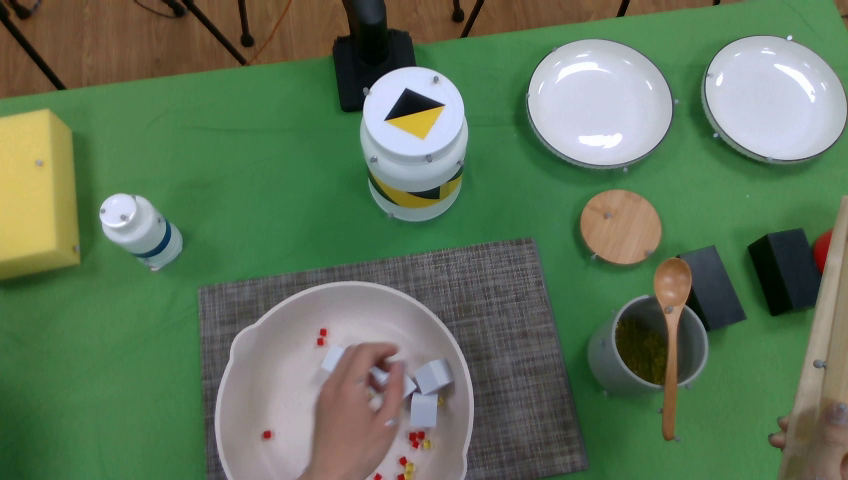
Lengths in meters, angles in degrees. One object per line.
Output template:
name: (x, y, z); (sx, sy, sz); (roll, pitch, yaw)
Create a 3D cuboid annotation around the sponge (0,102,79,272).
sponge: (-0.538, -0.070, 0.801); (0.118, 0.061, 0.205); (-13, 73, -6)

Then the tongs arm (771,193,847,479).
tongs arm: (0.309, 0.149, 0.492); (0.028, 0.028, 0.390); (0, 111, 8)

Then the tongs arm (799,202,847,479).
tongs arm: (0.305, 0.156, 0.474); (0.026, 0.050, 0.386); (1, 105, 11)

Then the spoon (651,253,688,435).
spoon: (0.262, 0.109, 0.651); (0.042, 0.022, 0.193); (8, 75, -3)

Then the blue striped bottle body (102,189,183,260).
blue striped bottle body: (-0.355, -0.022, 0.758); (0.063, 0.121, 0.062); (0, 71, 0)

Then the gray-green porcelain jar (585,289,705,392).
gray-green porcelain jar: (0.255, 0.124, 0.720); (0.106, 0.127, 0.105); (0, 71, -1)

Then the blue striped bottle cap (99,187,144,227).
blue striped bottle cap: (-0.355, -0.039, 0.710); (0.044, 0.021, 0.044); (0, 73, -1)

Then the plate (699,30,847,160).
plate: (0.500, -0.207, 0.879); (0.209, 0.038, 0.208); (0, 72, -1)

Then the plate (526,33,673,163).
plate: (0.248, -0.201, 0.874); (0.208, 0.039, 0.206); (0, 72, -1)

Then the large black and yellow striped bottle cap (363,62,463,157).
large black and yellow striped bottle cap: (-0.012, -0.149, 0.686); (0.115, 0.019, 0.114); (0, 73, -1)

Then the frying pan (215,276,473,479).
frying pan: (-0.145, 0.268, 0.673); (0.306, 0.103, 0.486); (31, 66, 10)

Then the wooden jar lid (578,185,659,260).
wooden jar lid: (0.263, -0.023, 0.825); (0.108, 0.021, 0.108); (0, 73, -1)

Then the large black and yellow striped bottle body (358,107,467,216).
large black and yellow striped bottle body: (-0.014, -0.121, 0.765); (0.131, 0.185, 0.130); (0, 71, -1)
